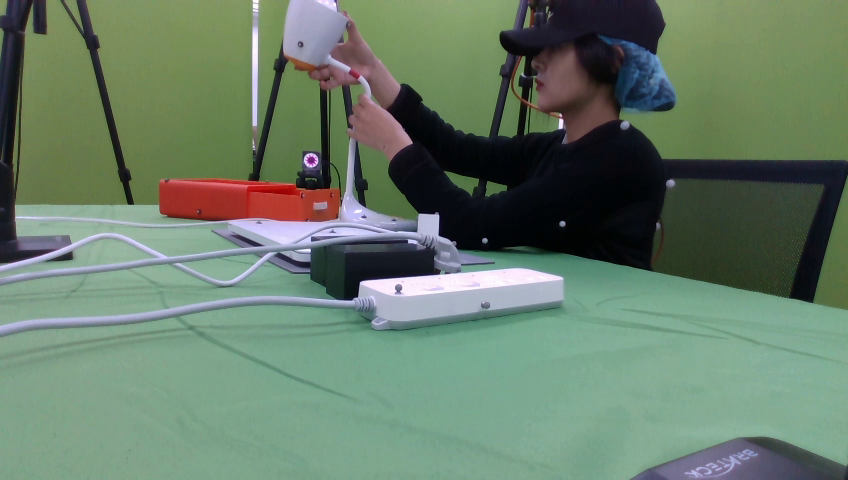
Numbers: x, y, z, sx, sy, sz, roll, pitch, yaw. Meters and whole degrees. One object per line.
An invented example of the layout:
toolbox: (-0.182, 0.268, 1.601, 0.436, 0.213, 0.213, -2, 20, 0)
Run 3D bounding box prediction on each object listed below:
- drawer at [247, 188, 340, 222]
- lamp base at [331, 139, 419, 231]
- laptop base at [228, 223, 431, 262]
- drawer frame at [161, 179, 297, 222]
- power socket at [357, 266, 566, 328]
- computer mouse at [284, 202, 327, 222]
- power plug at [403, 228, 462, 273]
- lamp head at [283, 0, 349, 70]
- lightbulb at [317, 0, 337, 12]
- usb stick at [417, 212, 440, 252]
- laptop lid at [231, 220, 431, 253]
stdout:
drawer: (-0.313, -0.078, 1.301, 0.211, 0.073, 0.195, 4, 8, 15)
lamp base: (-0.097, -0.111, 1.206, 0.179, 0.180, 0.160, -1, 6, -6)
laptop base: (-0.145, 0.002, 0.942, 0.237, 0.023, 0.352, 2, 6, -32)
drawer frame: (-0.421, -0.089, 1.329, 0.213, 0.082, 0.202, 4, 8, 16)
power socket: (0.042, 0.049, 0.573, 0.228, 0.032, 0.072, -3, 8, -34)
computer mouse: (-0.252, -0.061, 1.293, 0.063, 0.041, 0.117, 3, 4, 9)
power plug: (0.006, 0.016, 0.647, 0.073, 0.052, 0.035, 17, 12, -6)
lamp head: (-0.209, -0.382, 1.134, 0.112, 0.123, 0.112, 20, 12, -4)
lightbulb: (-0.202, -0.404, 1.124, 0.059, 0.107, 0.059, 28, 16, -8)
usb stick: (0.005, -0.003, 0.721, 0.027, 0.059, 0.021, 0, -3, -3)
laptop lid: (-0.142, -0.009, 0.942, 0.243, 0.013, 0.355, 1, 7, -31)
